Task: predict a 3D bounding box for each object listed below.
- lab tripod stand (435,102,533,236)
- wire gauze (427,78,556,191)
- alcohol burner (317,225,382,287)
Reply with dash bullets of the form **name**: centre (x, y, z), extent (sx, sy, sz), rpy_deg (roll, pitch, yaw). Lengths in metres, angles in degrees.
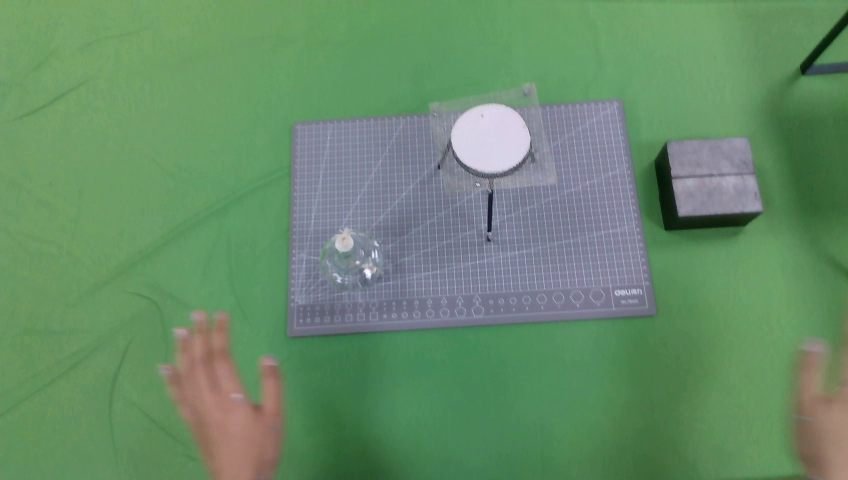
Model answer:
- **lab tripod stand**: centre (0.078, -0.097, 0.727), extent (0.148, 0.132, 0.147), rpy_deg (-1, 70, 3)
- **wire gauze**: centre (0.072, -0.115, 0.662), extent (0.125, 0.011, 0.120), rpy_deg (-8, 72, -1)
- **alcohol burner**: centre (-0.090, 0.013, 0.711), extent (0.078, 0.120, 0.077), rpy_deg (0, 70, 1)
